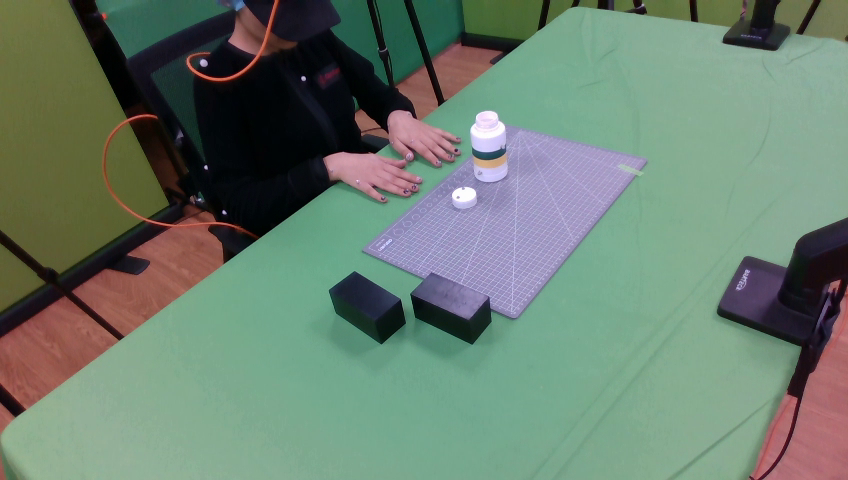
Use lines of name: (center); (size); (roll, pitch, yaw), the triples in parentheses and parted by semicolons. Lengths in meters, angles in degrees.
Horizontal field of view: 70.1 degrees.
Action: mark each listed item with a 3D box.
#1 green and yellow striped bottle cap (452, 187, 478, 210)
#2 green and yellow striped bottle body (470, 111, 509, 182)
green and yellow striped bottle cap: (0.072, -0.074, 1.057); (0.045, 0.020, 0.045); (-6, 40, 6)
green and yellow striped bottle body: (0.117, -0.169, 1.079); (0.063, 0.120, 0.063); (-6, 40, 5)
